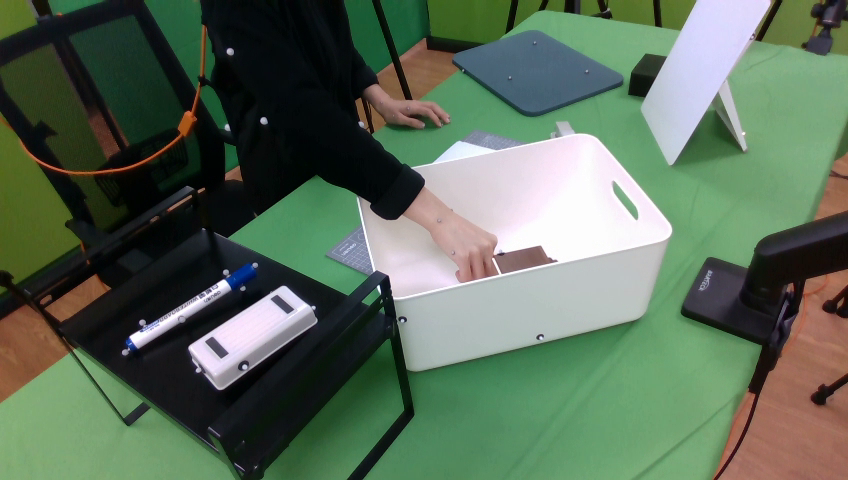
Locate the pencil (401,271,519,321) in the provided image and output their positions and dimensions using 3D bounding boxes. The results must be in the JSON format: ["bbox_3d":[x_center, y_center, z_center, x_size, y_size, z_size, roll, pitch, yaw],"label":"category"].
[{"bbox_3d":[0.056,0.078,0.872,0.195,0.012,0.012,-20,42,-20],"label":"pencil"}]

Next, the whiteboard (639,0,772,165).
[{"bbox_3d":[0.543,-0.298,1.076,0.144,0.305,0.216,12,40,-7],"label":"whiteboard"}]

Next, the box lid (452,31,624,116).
[{"bbox_3d":[0.256,-0.401,1.419,0.264,0.015,0.368,-22,43,-17],"label":"box lid"}]

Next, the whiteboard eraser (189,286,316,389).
[{"bbox_3d":[-0.166,0.096,0.593,0.113,0.042,0.055,-36,47,-29],"label":"whiteboard eraser"}]

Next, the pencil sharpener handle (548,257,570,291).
[{"bbox_3d":[0.182,0.045,0.801,0.031,0.068,0.035,-12,57,-7],"label":"pencil sharpener handle"}]

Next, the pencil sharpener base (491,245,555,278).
[{"bbox_3d":[0.134,0.068,0.800,0.077,0.107,0.061,-12,42,-7],"label":"pencil sharpener base"}]

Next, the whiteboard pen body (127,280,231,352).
[{"bbox_3d":[-0.248,0.072,0.645,0.141,0.017,0.017,-35,47,-23],"label":"whiteboard pen body"}]

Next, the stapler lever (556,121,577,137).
[{"bbox_3d":[0.266,-0.198,1.128,0.027,0.040,0.117,0,38,3],"label":"stapler lever"}]

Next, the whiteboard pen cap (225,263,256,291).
[{"bbox_3d":[-0.204,0.041,0.668,0.033,0.018,0.018,-36,48,-22],"label":"whiteboard pen cap"}]

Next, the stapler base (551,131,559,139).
[{"bbox_3d":[0.268,-0.178,1.142,0.041,0.024,0.130,0,37,3],"label":"stapler base"}]

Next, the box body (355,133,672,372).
[{"bbox_3d":[0.108,0.013,0.834,0.365,0.161,0.252,-12,41,-6],"label":"box body"}]
